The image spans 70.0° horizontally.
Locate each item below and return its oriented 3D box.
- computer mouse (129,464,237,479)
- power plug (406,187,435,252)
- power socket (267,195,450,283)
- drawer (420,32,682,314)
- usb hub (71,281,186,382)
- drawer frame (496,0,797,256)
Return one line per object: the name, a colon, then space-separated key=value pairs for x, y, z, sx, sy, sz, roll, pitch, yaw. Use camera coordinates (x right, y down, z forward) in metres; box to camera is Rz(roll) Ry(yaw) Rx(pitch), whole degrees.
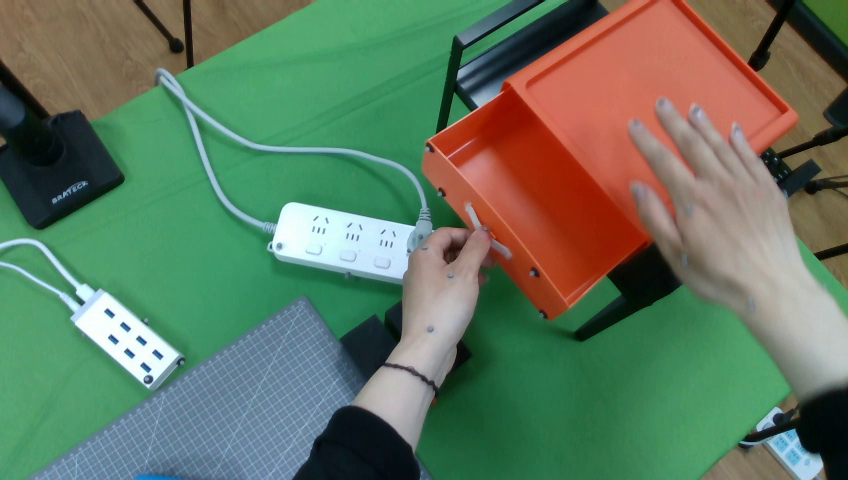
computer mouse: x=-0.258 y=0.274 z=0.638 sx=0.117 sy=0.041 sz=0.062 roll=6 pitch=73 yaw=0
power plug: x=0.002 y=-0.020 z=0.740 sx=0.035 sy=0.053 sz=0.072 roll=23 pitch=70 yaw=3
power socket: x=-0.078 y=-0.001 z=0.746 sx=0.227 sy=0.033 sz=0.072 roll=11 pitch=71 yaw=-1
drawer: x=0.135 y=-0.070 z=0.574 sx=0.211 sy=0.073 sz=0.193 roll=-36 pitch=79 yaw=-15
usb hub: x=-0.338 y=0.104 z=0.693 sx=0.125 sy=0.025 sz=0.049 roll=37 pitch=74 yaw=7
drawer frame: x=0.209 y=-0.125 z=0.597 sx=0.213 sy=0.083 sz=0.200 roll=-36 pitch=78 yaw=-16
